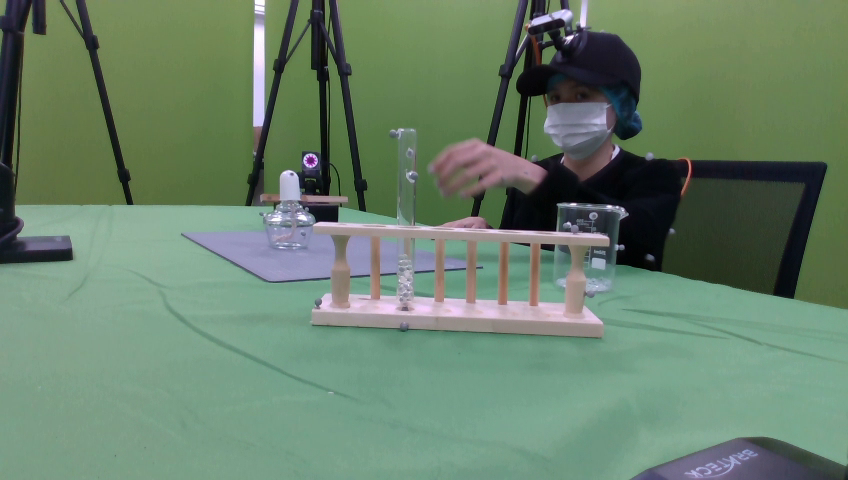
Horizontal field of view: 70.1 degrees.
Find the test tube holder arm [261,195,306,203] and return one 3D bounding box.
[{"bbox_3d":[-0.275,-0.081,1.185,0.088,0.015,0.010,-1,0,-32],"label":"test tube holder arm"}]

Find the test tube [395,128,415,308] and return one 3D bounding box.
[{"bbox_3d":[-0.016,-0.017,0.502,0.017,0.150,0.017,1,10,0],"label":"test tube"}]

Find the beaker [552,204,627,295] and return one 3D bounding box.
[{"bbox_3d":[0.191,0.010,0.708,0.083,0.100,0.074,8,9,33],"label":"beaker"}]

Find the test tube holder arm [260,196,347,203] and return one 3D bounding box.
[{"bbox_3d":[-0.239,-0.082,1.213,0.179,0.015,0.013,-1,0,-32],"label":"test tube holder arm"}]

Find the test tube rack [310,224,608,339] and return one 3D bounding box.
[{"bbox_3d":[0.028,0.032,0.528,0.242,0.085,0.067,3,7,0],"label":"test tube rack"}]

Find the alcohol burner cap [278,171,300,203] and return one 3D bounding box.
[{"bbox_3d":[-0.203,-0.080,0.909,0.034,0.048,0.034,-1,3,0],"label":"alcohol burner cap"}]

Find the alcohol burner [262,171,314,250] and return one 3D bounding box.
[{"bbox_3d":[-0.205,-0.045,0.913,0.078,0.119,0.078,1,9,0],"label":"alcohol burner"}]
